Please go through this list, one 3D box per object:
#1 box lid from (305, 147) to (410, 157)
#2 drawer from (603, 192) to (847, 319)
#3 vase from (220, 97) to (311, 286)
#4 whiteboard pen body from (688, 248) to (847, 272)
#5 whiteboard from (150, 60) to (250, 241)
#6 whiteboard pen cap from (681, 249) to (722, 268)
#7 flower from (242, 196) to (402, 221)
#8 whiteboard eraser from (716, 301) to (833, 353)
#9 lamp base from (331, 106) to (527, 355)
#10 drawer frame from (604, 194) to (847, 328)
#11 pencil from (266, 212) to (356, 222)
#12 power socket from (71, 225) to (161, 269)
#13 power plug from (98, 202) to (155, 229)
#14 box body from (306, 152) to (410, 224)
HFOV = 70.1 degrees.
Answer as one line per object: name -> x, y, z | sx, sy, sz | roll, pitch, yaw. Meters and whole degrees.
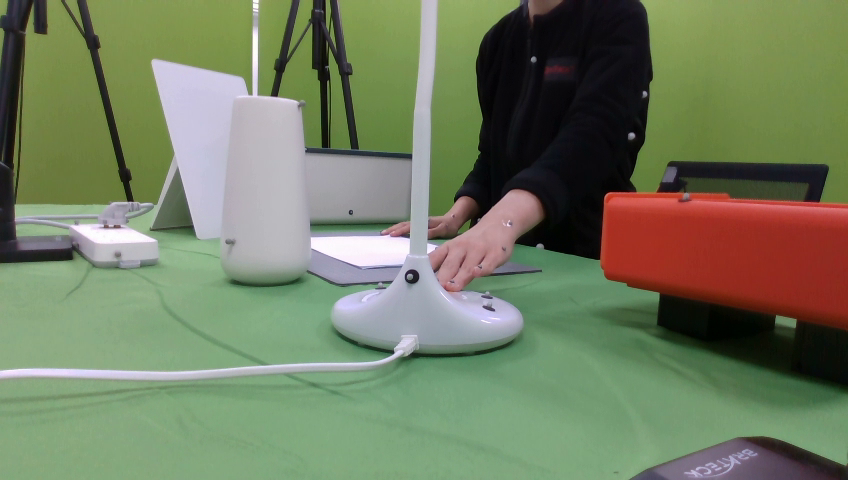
box lid -> -0.229, -0.200, 1.361 | 0.373, 0.015, 0.262 | -2, 9, -33
drawer -> 0.293, 0.003, 0.500 | 0.195, 0.073, 0.210 | -1, 9, -34
vase -> -0.172, -0.052, 0.662 | 0.098, 0.200, 0.098 | 3, 8, 0
whiteboard pen body -> 0.304, 0.017, 0.520 | 0.140, 0.017, 0.017 | 3, 7, 26
whiteboard -> -0.408, -0.139, 1.093 | 0.143, 0.305, 0.218 | -15, -1, 26
whiteboard pen cap -> 0.250, 0.017, 0.544 | 0.033, 0.018, 0.018 | 2, 7, 25
flower -> -0.231, -0.065, 1.372 | 0.362, 0.038, 0.044 | 6, 39, -2
whiteboard eraser -> 0.256, 0.042, 0.472 | 0.112, 0.042, 0.056 | 43, 19, 30
lamp base -> 0.006, -0.012, 0.478 | 0.161, 0.180, 0.179 | 2, 10, 2
drawer frame -> 0.297, 0.007, 0.497 | 0.203, 0.082, 0.212 | -1, 7, -34
pencil -> -0.244, -0.049, 1.319 | 0.195, 0.012, 0.012 | 4, 7, -12
power socket -> -0.408, 0.004, 0.793 | 0.072, 0.032, 0.225 | -2, 8, -38
power plug -> -0.416, -0.026, 0.848 | 0.073, 0.052, 0.035 | 1, 8, -28
box body -> -0.230, -0.126, 1.371 | 0.366, 0.160, 0.253 | -2, 9, -33
